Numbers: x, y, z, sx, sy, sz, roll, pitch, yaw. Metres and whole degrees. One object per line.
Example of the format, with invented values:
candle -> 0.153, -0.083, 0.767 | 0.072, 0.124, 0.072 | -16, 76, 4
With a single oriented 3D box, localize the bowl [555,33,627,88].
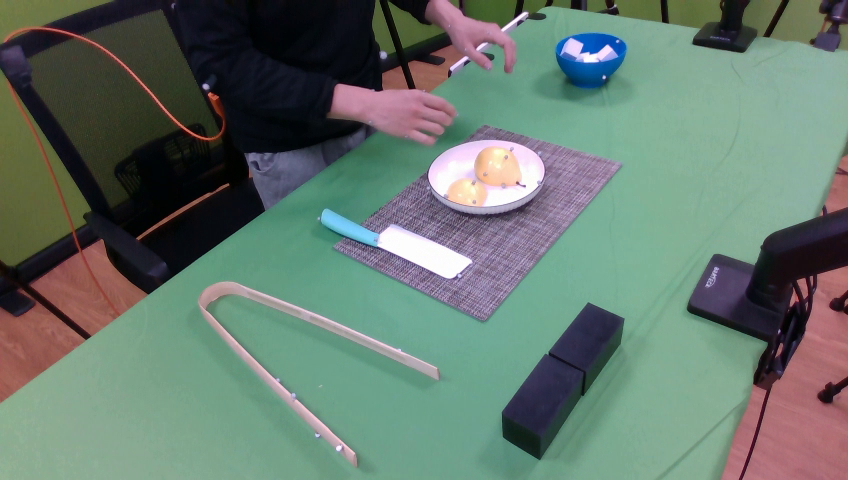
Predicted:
bowl -> 0.360, -0.384, 1.318 | 0.151, 0.077, 0.150 | -4, 41, 4

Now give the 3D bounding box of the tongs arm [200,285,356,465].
tongs arm -> -0.199, 0.162, 0.797 | 0.381, 0.026, 0.051 | 28, 50, 35

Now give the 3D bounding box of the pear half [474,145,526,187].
pear half -> 0.140, -0.129, 1.059 | 0.076, 0.056, 0.109 | -37, 52, -24

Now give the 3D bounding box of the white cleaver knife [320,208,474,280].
white cleaver knife -> -0.053, 0.001, 0.978 | 0.284, 0.021, 0.066 | 23, 41, 26

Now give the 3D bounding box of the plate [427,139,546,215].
plate -> 0.109, -0.107, 1.058 | 0.207, 0.039, 0.206 | -4, 41, 4

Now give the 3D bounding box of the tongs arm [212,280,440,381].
tongs arm -> -0.147, 0.121, 0.846 | 0.385, 0.028, 0.028 | 17, 48, 25

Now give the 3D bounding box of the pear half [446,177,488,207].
pear half -> 0.073, -0.086, 1.033 | 0.070, 0.031, 0.087 | -20, 37, -9
